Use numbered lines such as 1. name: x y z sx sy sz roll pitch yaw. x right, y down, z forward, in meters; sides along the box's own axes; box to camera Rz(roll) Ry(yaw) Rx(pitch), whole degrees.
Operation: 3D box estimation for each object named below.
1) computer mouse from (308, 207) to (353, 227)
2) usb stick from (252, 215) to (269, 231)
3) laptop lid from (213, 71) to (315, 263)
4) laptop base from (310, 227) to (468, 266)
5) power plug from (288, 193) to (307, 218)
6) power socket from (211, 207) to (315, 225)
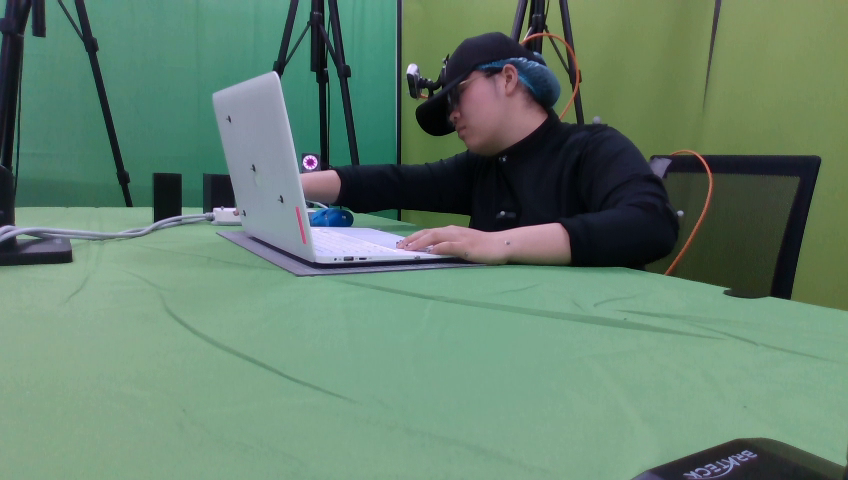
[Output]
1. computer mouse: -0.202 -0.046 1.275 0.062 0.041 0.117 9 14 23
2. usb stick: -0.292 -0.029 1.083 0.021 0.027 0.059 3 8 -26
3. laptop lid: -0.241 -0.104 0.865 0.013 0.241 0.355 -16 17 -28
4. laptop base: -0.122 0.007 0.954 0.237 0.023 0.352 2 6 -31
5. power plug: -0.281 -0.076 1.341 0.035 0.052 0.072 3 7 -18
6. power socket: -0.335 -0.052 1.282 0.228 0.032 0.072 -2 9 -28
